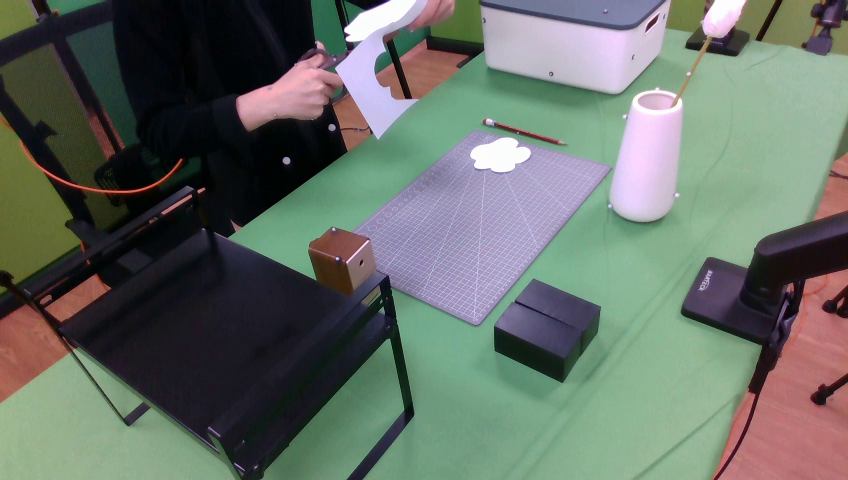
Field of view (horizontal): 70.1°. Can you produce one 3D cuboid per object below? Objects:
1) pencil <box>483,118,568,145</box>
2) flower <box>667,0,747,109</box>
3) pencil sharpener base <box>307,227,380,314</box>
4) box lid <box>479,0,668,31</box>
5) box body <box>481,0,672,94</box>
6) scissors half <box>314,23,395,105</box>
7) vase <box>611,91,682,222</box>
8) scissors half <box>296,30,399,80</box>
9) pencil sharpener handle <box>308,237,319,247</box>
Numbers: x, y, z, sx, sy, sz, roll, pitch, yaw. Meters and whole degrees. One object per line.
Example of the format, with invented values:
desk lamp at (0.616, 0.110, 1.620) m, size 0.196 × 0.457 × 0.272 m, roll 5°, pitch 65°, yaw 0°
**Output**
pencil at (0.201, -0.217, 1.212) m, size 0.192 × 0.012 × 0.012 m, roll 24°, pitch 49°, yaw 29°
flower at (0.354, -0.187, 0.879) m, size 0.038 × 0.362 × 0.044 m, roll 30°, pitch 48°, yaw 14°
pencil sharpener base at (-0.116, 0.043, 0.875) m, size 0.076 × 0.107 × 0.061 m, roll 18°, pitch 47°, yaw 28°
box lid at (0.335, -0.536, 1.331) m, size 0.368 × 0.015 × 0.264 m, roll 23°, pitch 49°, yaw 30°
box body at (0.341, -0.480, 1.381) m, size 0.361 × 0.161 × 0.255 m, roll 22°, pitch 48°, yaw 30°
scissors half at (-0.107, -0.274, 0.943) m, size 0.175 × 0.040 × 0.013 m, roll -43°, pitch 14°, yaw 20°
vase at (0.348, -0.125, 0.935) m, size 0.098 × 0.201 × 0.097 m, roll -3°, pitch 40°, yaw 3°
scissors half at (-0.120, -0.291, 0.936) m, size 0.175 × 0.040 × 0.013 m, roll -16°, pitch 26°, yaw 11°
pencil sharpener handle at (-0.159, 0.017, 0.892) m, size 0.030 × 0.068 × 0.036 m, roll 18°, pitch 60°, yaw 28°
